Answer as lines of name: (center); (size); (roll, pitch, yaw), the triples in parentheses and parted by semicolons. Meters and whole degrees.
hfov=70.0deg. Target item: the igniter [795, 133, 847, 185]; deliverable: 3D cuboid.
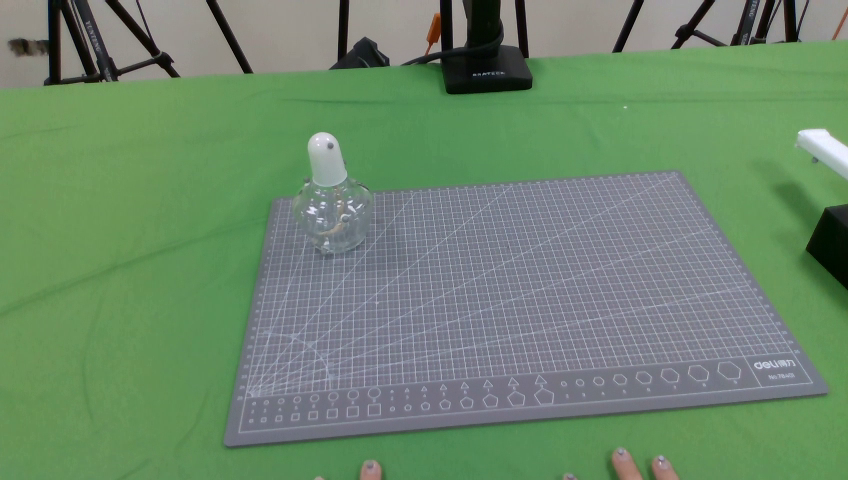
igniter: (0.420, -0.026, 0.525); (0.057, 0.025, 0.273); (-5, 36, -4)

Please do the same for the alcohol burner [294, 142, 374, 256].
alcohol burner: (-0.086, -0.043, 0.568); (0.078, 0.120, 0.077); (0, 42, 0)

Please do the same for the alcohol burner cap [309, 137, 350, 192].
alcohol burner cap: (-0.087, -0.071, 0.545); (0.034, 0.048, 0.033); (-3, 42, 3)
